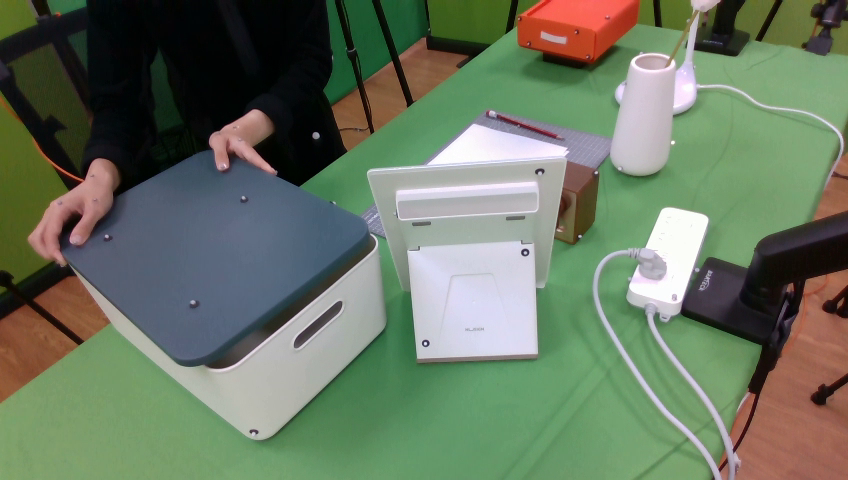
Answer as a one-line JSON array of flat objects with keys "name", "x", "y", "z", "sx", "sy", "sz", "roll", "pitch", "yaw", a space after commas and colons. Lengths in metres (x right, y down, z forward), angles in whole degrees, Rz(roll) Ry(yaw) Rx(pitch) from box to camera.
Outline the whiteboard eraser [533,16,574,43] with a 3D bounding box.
[{"name": "whiteboard eraser", "x": 0.305, "y": -0.493, "z": 1.423, "sx": 0.055, "sy": 0.042, "sz": 0.113, "roll": 26, "pitch": 43, "yaw": 25}]

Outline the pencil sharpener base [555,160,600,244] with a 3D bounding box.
[{"name": "pencil sharpener base", "x": 0.228, "y": -0.057, "z": 0.945, "sx": 0.061, "sy": 0.107, "sz": 0.077, "roll": 24, "pitch": 50, "yaw": 31}]

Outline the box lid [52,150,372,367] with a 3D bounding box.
[{"name": "box lid", "x": -0.271, "y": -0.003, "z": 0.755, "sx": 0.368, "sy": 0.015, "sz": 0.264, "roll": 25, "pitch": 50, "yaw": 34}]

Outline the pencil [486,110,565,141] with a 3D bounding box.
[{"name": "pencil", "x": 0.203, "y": -0.232, "z": 1.226, "sx": 0.192, "sy": 0.012, "sz": 0.012, "roll": 29, "pitch": 52, "yaw": 33}]

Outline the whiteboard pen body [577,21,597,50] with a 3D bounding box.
[{"name": "whiteboard pen body", "x": 0.372, "y": -0.468, "z": 1.390, "sx": 0.017, "sy": 0.017, "sz": 0.141, "roll": 14, "pitch": 47, "yaw": 23}]

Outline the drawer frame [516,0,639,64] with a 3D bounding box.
[{"name": "drawer frame", "x": 0.356, "y": -0.507, "z": 1.410, "sx": 0.200, "sy": 0.083, "sz": 0.214, "roll": 25, "pitch": 51, "yaw": 32}]

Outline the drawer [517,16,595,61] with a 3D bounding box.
[{"name": "drawer", "x": 0.352, "y": -0.505, "z": 1.404, "sx": 0.193, "sy": 0.073, "sz": 0.212, "roll": 25, "pitch": 50, "yaw": 33}]

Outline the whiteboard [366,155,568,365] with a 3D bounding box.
[{"name": "whiteboard", "x": 0.059, "y": 0.049, "z": 0.738, "sx": 0.217, "sy": 0.307, "sz": 0.143, "roll": -3, "pitch": 60, "yaw": 5}]

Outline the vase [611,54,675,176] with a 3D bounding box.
[{"name": "vase", "x": 0.377, "y": -0.209, "z": 1.031, "sx": 0.098, "sy": 0.201, "sz": 0.097, "roll": -3, "pitch": 40, "yaw": 3}]

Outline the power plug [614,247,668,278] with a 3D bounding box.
[{"name": "power plug", "x": 0.306, "y": 0.031, "z": 0.851, "sx": 0.072, "sy": 0.053, "sz": 0.035, "roll": 24, "pitch": 49, "yaw": 33}]

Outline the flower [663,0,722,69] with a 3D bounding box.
[{"name": "flower", "x": 0.379, "y": -0.261, "z": 0.965, "sx": 0.044, "sy": 0.362, "sz": 0.038, "roll": 21, "pitch": 53, "yaw": 5}]

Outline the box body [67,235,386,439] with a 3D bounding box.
[{"name": "box body", "x": -0.257, "y": 0.068, "z": 0.824, "sx": 0.361, "sy": 0.161, "sz": 0.255, "roll": 24, "pitch": 49, "yaw": 31}]

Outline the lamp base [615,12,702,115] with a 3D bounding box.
[{"name": "lamp base", "x": 0.484, "y": -0.363, "z": 1.211, "sx": 0.180, "sy": 0.181, "sz": 0.159, "roll": -15, "pitch": 41, "yaw": -14}]

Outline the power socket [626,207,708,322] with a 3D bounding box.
[{"name": "power socket", "x": 0.359, "y": 0.026, "z": 0.886, "sx": 0.072, "sy": 0.033, "sz": 0.227, "roll": 16, "pitch": 46, "yaw": 26}]

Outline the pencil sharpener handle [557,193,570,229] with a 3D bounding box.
[{"name": "pencil sharpener handle", "x": 0.195, "y": -0.038, "z": 0.908, "sx": 0.035, "sy": 0.068, "sz": 0.031, "roll": 24, "pitch": 50, "yaw": 30}]

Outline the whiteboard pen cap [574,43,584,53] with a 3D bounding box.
[{"name": "whiteboard pen cap", "x": 0.346, "y": -0.430, "z": 1.350, "sx": 0.018, "sy": 0.018, "sz": 0.033, "roll": 15, "pitch": 37, "yaw": 24}]
